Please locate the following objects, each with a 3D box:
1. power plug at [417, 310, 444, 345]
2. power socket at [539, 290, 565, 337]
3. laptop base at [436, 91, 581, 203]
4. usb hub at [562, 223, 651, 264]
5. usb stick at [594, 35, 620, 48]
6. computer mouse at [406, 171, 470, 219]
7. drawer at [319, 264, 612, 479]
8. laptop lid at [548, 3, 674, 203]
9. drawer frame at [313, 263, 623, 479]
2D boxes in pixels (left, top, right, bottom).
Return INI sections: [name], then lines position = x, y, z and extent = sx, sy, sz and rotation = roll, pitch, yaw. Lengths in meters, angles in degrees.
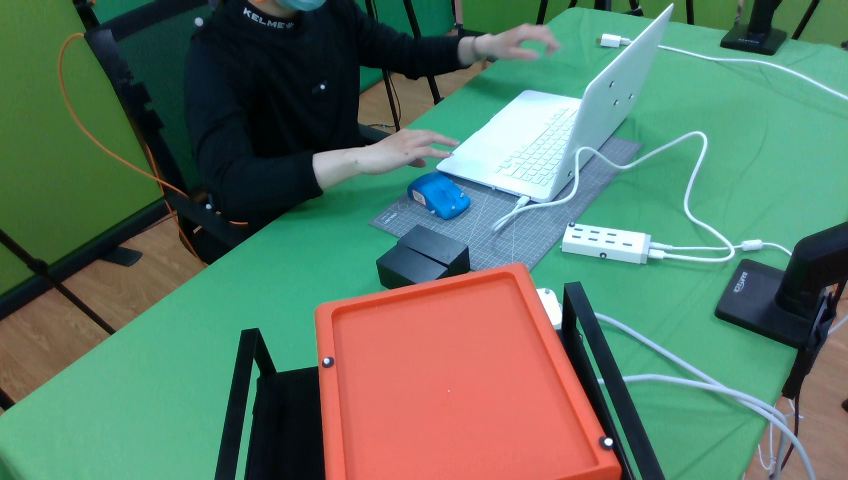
[power plug]
position = 0.007, 0.122, 0.785
extent = 0.035, 0.053, 0.072
rotation = 1, 39, 7
[power socket]
position = 0.081, 0.112, 0.822
extent = 0.227, 0.033, 0.072
rotation = -6, 41, 0
[laptop base]
position = 0.215, -0.192, 1.172
extent = 0.233, 0.023, 0.355
rotation = 19, 46, 32
[usb hub]
position = 0.279, 0.005, 0.926
extent = 0.124, 0.025, 0.049
rotation = 10, 43, 19
[usb stick]
position = 0.443, -0.482, 1.466
extent = 0.059, 0.021, 0.027
rotation = 10, 43, 10
[computer mouse]
position = 0.024, -0.082, 1.049
extent = 0.063, 0.041, 0.116
rotation = -30, 50, -27
[drawer]
position = 0.020, 0.129, 0.497
extent = 0.195, 0.073, 0.210
rotation = -11, 41, -5
[laptop lid]
position = 0.320, -0.235, 1.026
extent = 0.013, 0.242, 0.357
rotation = 31, 50, 20
[drawer frame]
position = 0.021, 0.130, 0.493
extent = 0.202, 0.083, 0.212
rotation = -11, 41, -6
